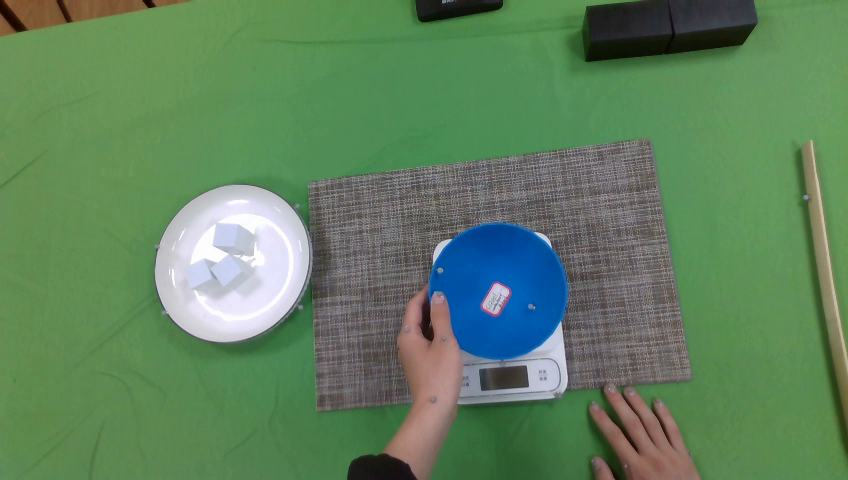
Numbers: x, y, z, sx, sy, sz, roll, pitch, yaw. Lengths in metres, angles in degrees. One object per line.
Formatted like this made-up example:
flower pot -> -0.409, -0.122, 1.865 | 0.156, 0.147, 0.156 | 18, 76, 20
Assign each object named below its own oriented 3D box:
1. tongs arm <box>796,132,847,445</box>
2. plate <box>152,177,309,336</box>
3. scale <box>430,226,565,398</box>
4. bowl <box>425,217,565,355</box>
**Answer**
tongs arm -> 0.470, 0.060, 0.697 | 0.028, 0.028, 0.385 | -4, 78, 4
plate -> -0.248, 0.022, 0.787 | 0.207, 0.039, 0.206 | -1, 78, 7
scale -> 0.086, 0.085, 0.732 | 0.148, 0.032, 0.200 | -6, 78, 6
bowl -> 0.080, 0.055, 0.684 | 0.151, 0.077, 0.150 | -1, 79, 6
